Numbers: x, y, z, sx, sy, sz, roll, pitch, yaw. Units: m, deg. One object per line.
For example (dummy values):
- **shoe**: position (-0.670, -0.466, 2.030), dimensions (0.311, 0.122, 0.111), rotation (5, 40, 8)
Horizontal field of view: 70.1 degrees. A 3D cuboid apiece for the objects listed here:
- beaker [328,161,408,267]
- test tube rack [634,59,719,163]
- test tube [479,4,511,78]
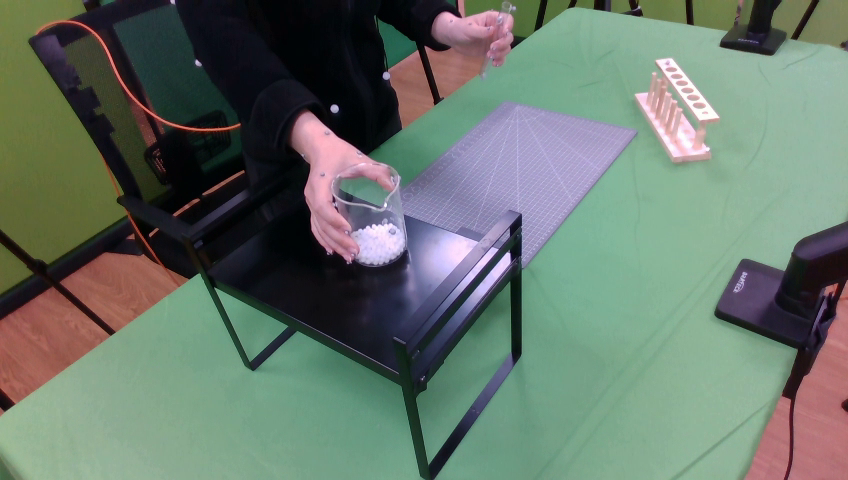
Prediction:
- **beaker**: position (-0.057, -0.025, 0.671), dimensions (0.074, 0.101, 0.083), rotation (-23, 46, -16)
- **test tube rack**: position (0.470, -0.250, 1.148), dimensions (0.067, 0.085, 0.241), rotation (-6, 40, 3)
- **test tube**: position (0.112, -0.316, 0.973), dimensions (0.017, 0.150, 0.017), rotation (5, 61, -8)
